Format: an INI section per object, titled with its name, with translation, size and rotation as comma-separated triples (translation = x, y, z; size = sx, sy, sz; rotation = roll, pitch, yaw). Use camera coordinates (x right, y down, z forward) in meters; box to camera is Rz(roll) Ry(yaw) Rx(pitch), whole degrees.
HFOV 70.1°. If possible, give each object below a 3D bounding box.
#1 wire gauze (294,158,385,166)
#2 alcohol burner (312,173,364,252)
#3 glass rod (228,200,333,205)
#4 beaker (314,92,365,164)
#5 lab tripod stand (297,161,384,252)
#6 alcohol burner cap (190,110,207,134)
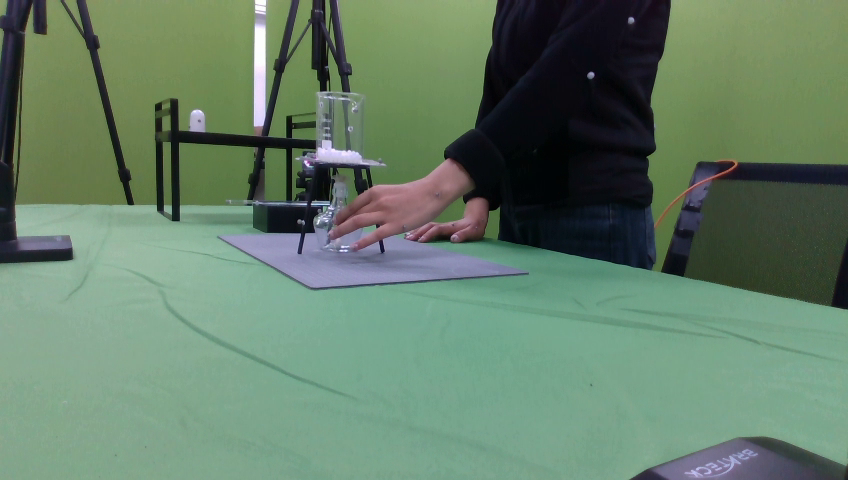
[wire gauze]
translation = -0.128, -0.116, 0.901
size = 0.125, 0.011, 0.121
rotation = -2, 8, -14
[alcohol burner]
translation = -0.129, -0.042, 0.910
size = 0.078, 0.119, 0.078
rotation = 5, 8, 0
[glass rod]
translation = -0.268, -0.071, 1.148
size = 0.201, 0.008, 0.008
rotation = -1, 8, -28
[beaker]
translation = -0.123, -0.163, 0.893
size = 0.073, 0.100, 0.084
rotation = 7, 9, 30
[lab tripod stand]
translation = -0.131, -0.051, 0.903
size = 0.148, 0.131, 0.148
rotation = 3, 9, 0
[alcohol burner cap]
translation = -0.463, -0.242, 1.240
size = 0.034, 0.048, 0.034
rotation = 2, 7, 0
